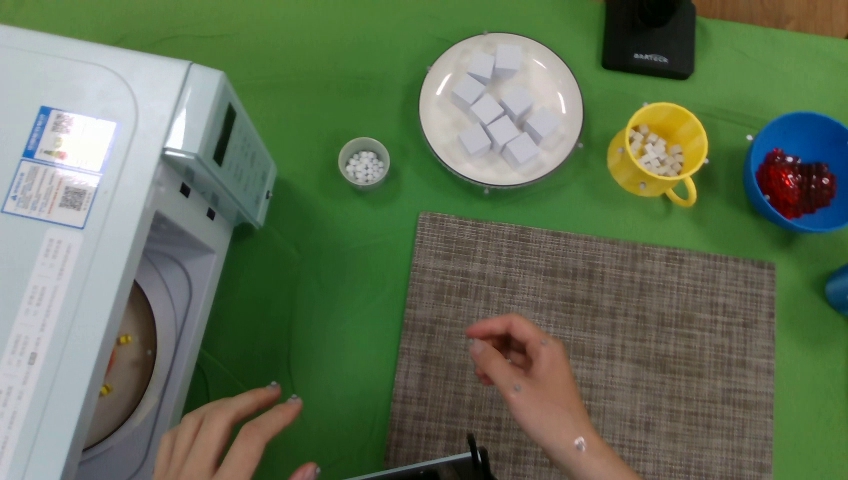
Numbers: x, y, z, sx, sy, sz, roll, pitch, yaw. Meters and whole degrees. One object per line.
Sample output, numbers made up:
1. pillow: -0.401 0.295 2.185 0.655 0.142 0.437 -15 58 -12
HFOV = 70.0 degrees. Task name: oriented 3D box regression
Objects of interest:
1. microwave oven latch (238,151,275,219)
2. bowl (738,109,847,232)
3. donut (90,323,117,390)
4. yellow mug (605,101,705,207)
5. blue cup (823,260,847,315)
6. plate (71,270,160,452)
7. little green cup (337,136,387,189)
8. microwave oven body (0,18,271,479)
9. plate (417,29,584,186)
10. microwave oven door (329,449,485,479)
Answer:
1. microwave oven latch: -0.198 -0.066 0.710 0.030 0.029 0.079 15 78 0
2. bowl: 0.450 -0.076 0.745 0.151 0.077 0.150 1 78 -2
3. donut: -0.358 0.108 0.606 0.099 0.048 0.098 1 80 -4
4. yellow mug: 0.291 -0.099 0.748 0.100 0.064 0.130 -28 81 -8
5. blue cup: 0.528 0.051 0.709 0.093 0.100 0.092 1 76 -3
6. plate: -0.373 0.112 0.618 0.209 0.038 0.208 1 78 -3
7. little green cup: -0.076 -0.092 0.740 0.062 0.039 0.061 2 78 -8
8. microwave oven body: -0.373 0.053 0.576 0.326 0.261 0.440 12 78 -1
9. plate: 0.095 -0.164 0.766 0.208 0.039 0.206 1 78 -3
10. microwave oven door: -0.105 0.254 0.543 0.356 0.244 0.039 -10 77 -5
